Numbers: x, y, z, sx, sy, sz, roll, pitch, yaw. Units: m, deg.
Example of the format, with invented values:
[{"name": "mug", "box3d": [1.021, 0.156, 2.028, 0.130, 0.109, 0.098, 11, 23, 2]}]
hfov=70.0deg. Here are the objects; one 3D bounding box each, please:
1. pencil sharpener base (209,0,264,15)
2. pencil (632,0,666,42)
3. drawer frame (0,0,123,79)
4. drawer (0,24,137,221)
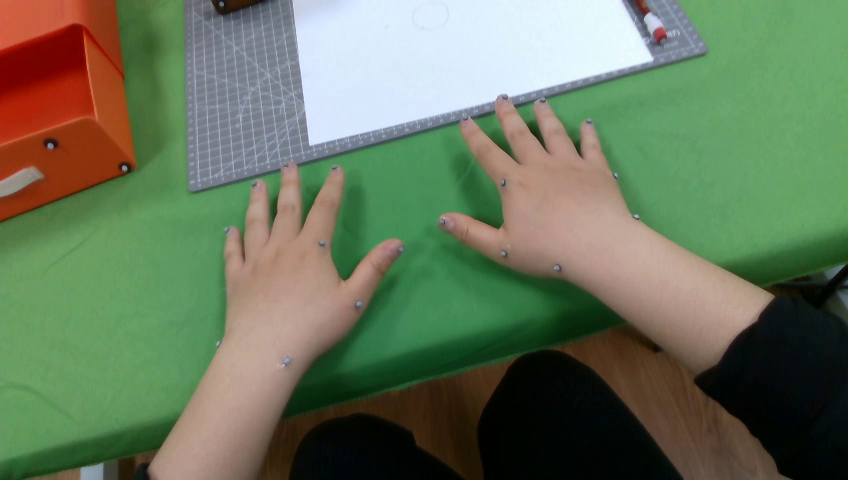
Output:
[{"name": "pencil sharpener base", "box3d": [-0.195, -0.284, 0.583, 0.077, 0.108, 0.061, -20, 60, -1]}, {"name": "pencil", "box3d": [0.178, -0.248, 0.557, 0.012, 0.012, 0.192, -16, 58, 1]}, {"name": "drawer frame", "box3d": [-0.417, -0.216, 0.599, 0.202, 0.083, 0.211, -22, 59, -3]}, {"name": "drawer", "box3d": [-0.376, -0.122, 0.542, 0.194, 0.074, 0.209, -22, 60, -3]}]
